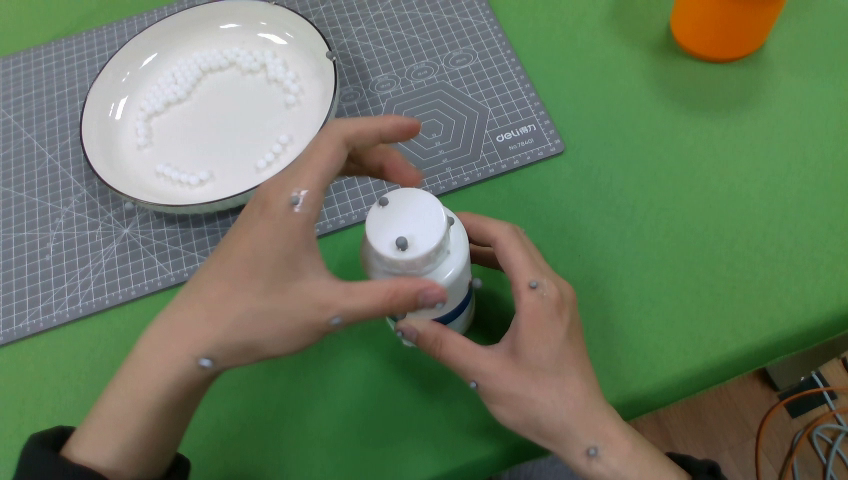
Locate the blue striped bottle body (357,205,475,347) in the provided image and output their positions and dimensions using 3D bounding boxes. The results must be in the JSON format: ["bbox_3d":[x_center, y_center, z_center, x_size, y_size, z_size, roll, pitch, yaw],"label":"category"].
[{"bbox_3d":[-0.003,0.018,0.367,0.063,0.122,0.062,-3,63,7],"label":"blue striped bottle body"}]

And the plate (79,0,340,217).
[{"bbox_3d":[-0.168,-0.106,0.491,0.207,0.039,0.206,-2,63,5],"label":"plate"}]

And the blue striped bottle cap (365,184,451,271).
[{"bbox_3d":[-0.008,-0.007,0.320,0.044,0.021,0.044,-3,65,7],"label":"blue striped bottle cap"}]
